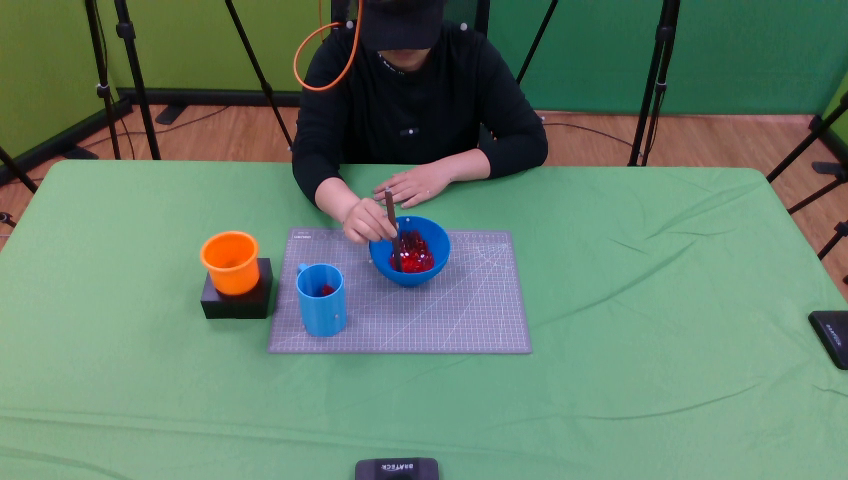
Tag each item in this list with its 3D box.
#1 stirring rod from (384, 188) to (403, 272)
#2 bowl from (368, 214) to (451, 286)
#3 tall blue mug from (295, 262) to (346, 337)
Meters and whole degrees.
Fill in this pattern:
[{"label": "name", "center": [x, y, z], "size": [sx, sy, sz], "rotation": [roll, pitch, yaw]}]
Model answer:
[{"label": "stirring rod", "center": [-0.052, -0.010, 1.037], "size": [0.014, 0.177, 0.006], "rotation": [15, 40, 28]}, {"label": "bowl", "center": [-0.027, 0.031, 1.122], "size": [0.151, 0.077, 0.150], "rotation": [2, 46, -2]}, {"label": "tall blue mug", "center": [-0.187, 0.096, 1.027], "size": [0.107, 0.108, 0.077], "rotation": [21, 49, 16]}]
